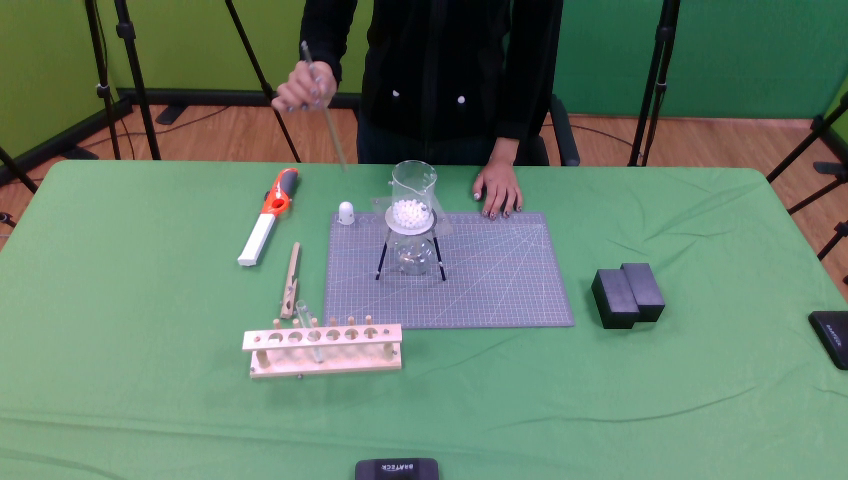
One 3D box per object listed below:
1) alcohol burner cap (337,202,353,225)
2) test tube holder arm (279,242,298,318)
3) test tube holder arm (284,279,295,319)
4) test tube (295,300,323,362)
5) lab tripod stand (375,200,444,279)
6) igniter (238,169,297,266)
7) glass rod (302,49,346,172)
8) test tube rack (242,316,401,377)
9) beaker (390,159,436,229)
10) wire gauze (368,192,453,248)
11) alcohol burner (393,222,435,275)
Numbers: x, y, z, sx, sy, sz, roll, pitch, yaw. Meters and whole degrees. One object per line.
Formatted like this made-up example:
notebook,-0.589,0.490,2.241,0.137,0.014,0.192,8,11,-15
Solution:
alcohol burner cap,-0.161,-0.056,1.223,0.034,0.048,0.033,2,46,-2
test tube holder arm,-0.248,0.069,1.114,0.013,0.015,0.177,25,38,-26
test tube holder arm,-0.241,0.103,1.085,0.010,0.015,0.087,25,38,-26
test tube,-0.176,0.143,0.935,0.017,0.151,0.017,-2,46,2
lab tripod stand,-0.023,0.004,1.114,0.148,0.132,0.147,4,45,-3
igniter,-0.313,-0.055,1.224,0.057,0.025,0.275,1,45,10
glass rod,-0.153,-0.195,0.936,0.008,0.200,0.008,-12,29,7
test tube rack,-0.161,0.166,0.983,0.242,0.085,0.066,-2,46,-6
beaker,-0.020,-0.073,1.029,0.074,0.101,0.083,-10,48,-16
wire gauze,-0.025,-0.041,1.065,0.122,0.011,0.124,-10,46,-18
alcohol burner,-0.018,0.009,1.122,0.078,0.119,0.077,3,47,-3
